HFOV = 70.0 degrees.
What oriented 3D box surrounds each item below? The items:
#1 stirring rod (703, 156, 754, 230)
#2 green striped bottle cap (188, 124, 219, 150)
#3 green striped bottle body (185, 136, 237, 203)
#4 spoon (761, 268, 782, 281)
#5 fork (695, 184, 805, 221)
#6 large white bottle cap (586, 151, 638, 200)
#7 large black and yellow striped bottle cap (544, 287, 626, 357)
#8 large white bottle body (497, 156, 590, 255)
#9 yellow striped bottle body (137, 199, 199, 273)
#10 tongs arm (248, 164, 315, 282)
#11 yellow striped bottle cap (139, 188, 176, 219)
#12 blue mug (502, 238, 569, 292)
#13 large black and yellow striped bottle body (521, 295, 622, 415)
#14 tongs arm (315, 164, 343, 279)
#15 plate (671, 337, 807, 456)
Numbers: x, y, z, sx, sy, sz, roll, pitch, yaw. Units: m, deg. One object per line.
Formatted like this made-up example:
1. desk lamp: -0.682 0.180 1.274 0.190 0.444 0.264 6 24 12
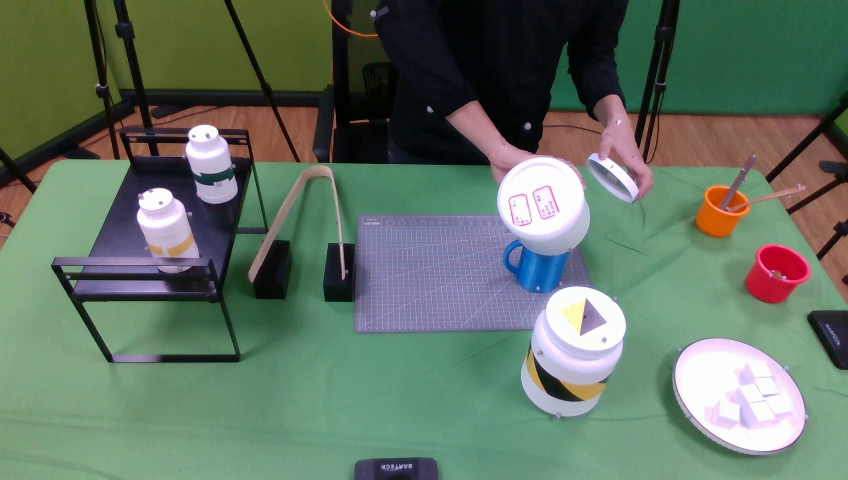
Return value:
1. stirring rod: 0.631 -0.098 1.258 0.014 0.006 0.176 33 95 29
2. green striped bottle cap: -0.339 -0.158 0.931 0.044 0.020 0.044 3 48 -3
3. green striped bottle body: -0.341 -0.121 0.968 0.063 0.120 0.063 2 46 -2
4. spoon: 0.638 0.060 1.105 0.041 0.021 0.194 38 11 24
5. fork: 0.657 -0.075 1.230 0.207 0.019 0.028 -23 34 37
6. large white bottle cap: 0.348 -0.119 1.122 0.018 0.115 0.114 -45 57 5
7. large black and yellow striped bottle cap: 0.232 0.116 0.876 0.115 0.019 0.114 2 46 -1
8. large white bottle body: 0.199 -0.047 0.981 0.130 0.185 0.130 -4 78 18
9. yellow striped bottle body: -0.366 -0.014 0.863 0.063 0.121 0.062 2 46 -2
10. tongs arm: -0.270 -0.047 1.165 0.028 0.028 0.385 -1 34 7
11. yellow striped bottle cap: -0.363 -0.050 0.826 0.044 0.019 0.044 1 47 0
12. blue mug: 0.203 0.031 1.121 0.116 0.106 0.082 5 46 1
13. large black and yellow striped bottle body: 0.228 0.173 0.938 0.131 0.185 0.130 2 47 -2
14. tongs arm: -0.188 -0.049 1.170 0.051 0.026 0.382 -5 35 -6
15. plate: 0.504 0.253 0.984 0.208 0.039 0.206 2 46 -2
